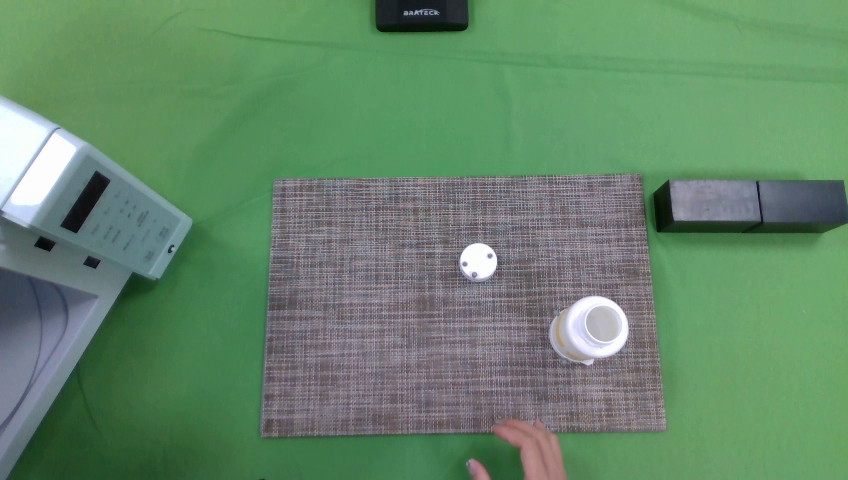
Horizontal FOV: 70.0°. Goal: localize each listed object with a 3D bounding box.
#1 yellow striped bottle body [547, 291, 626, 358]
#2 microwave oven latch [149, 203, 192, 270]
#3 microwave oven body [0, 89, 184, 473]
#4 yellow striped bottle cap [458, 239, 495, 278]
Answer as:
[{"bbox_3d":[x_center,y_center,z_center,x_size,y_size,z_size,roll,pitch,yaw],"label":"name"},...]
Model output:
[{"bbox_3d":[0.172,0.090,0.641,0.063,0.121,0.062,0,76,0],"label":"yellow striped bottle body"},{"bbox_3d":[-0.296,-0.007,0.689,0.030,0.029,0.079,28,79,5],"label":"microwave oven latch"},{"bbox_3d":[-0.509,0.059,0.574,0.325,0.261,0.440,26,79,5],"label":"microwave oven body"},{"bbox_3d":[0.062,0.021,0.711,0.044,0.019,0.044,0,78,1],"label":"yellow striped bottle cap"}]
